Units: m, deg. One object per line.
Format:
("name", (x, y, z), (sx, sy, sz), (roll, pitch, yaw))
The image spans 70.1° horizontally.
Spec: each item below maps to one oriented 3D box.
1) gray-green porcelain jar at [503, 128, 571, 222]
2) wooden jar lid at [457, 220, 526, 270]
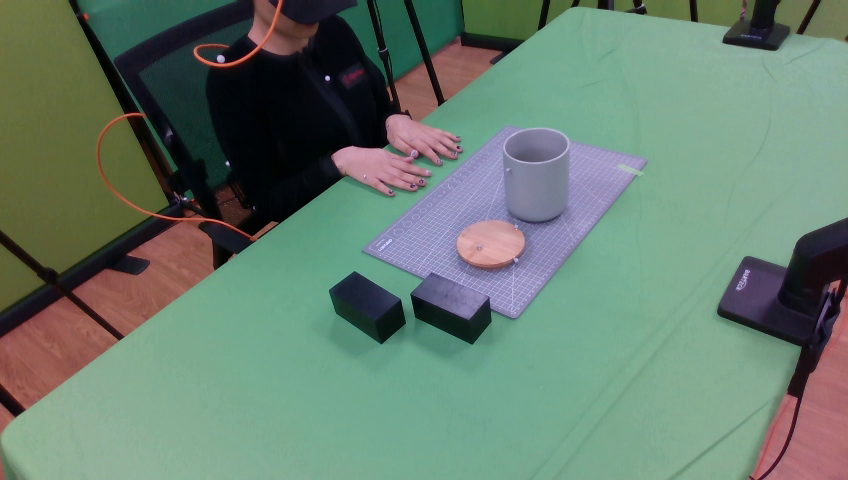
("gray-green porcelain jar", (0.184, -0.102, 0.983), (0.106, 0.127, 0.105), (-5, 40, 5))
("wooden jar lid", (0.106, 0.009, 0.950), (0.108, 0.021, 0.108), (-4, 40, 4))
